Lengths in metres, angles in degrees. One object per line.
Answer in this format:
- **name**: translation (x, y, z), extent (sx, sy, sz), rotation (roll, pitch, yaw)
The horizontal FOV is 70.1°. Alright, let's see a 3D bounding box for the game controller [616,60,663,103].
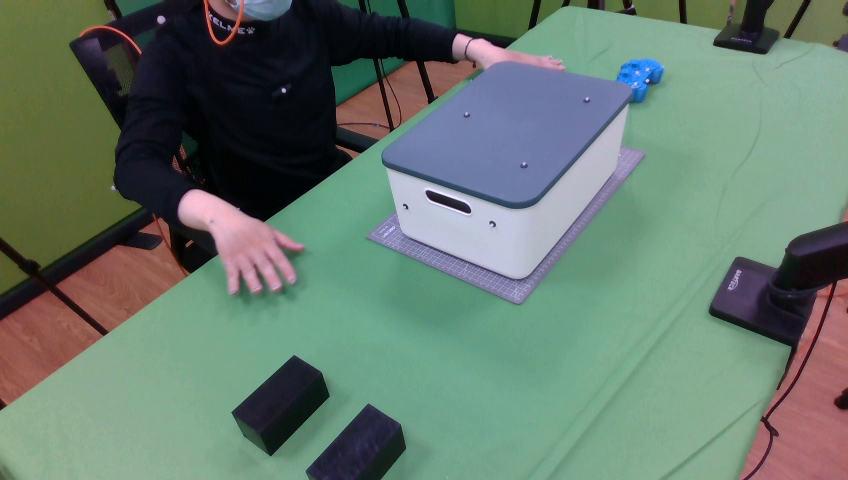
- **game controller**: translation (0.442, -0.345, 1.288), extent (0.096, 0.052, 0.155), rotation (25, 50, 27)

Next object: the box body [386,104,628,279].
- **box body**: translation (0.142, -0.125, 0.982), extent (0.252, 0.161, 0.365), rotation (22, 48, 29)

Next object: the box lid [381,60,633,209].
- **box lid**: translation (0.137, -0.182, 0.935), extent (0.261, 0.015, 0.372), rotation (22, 48, 29)
